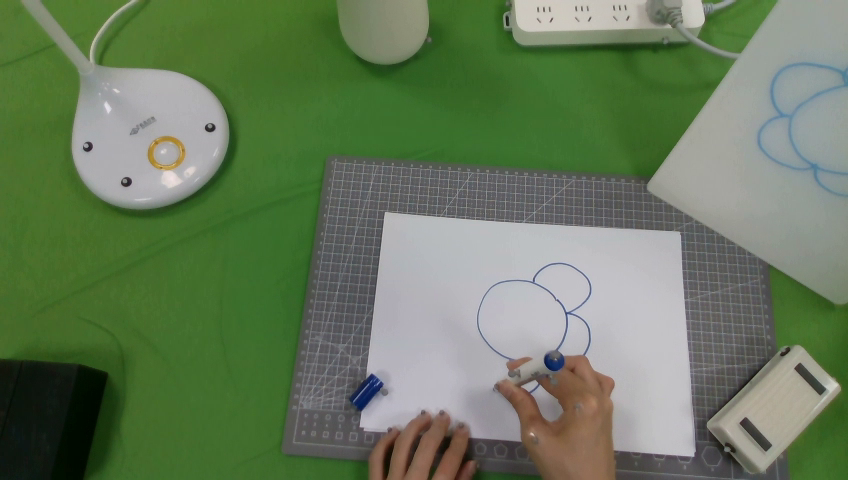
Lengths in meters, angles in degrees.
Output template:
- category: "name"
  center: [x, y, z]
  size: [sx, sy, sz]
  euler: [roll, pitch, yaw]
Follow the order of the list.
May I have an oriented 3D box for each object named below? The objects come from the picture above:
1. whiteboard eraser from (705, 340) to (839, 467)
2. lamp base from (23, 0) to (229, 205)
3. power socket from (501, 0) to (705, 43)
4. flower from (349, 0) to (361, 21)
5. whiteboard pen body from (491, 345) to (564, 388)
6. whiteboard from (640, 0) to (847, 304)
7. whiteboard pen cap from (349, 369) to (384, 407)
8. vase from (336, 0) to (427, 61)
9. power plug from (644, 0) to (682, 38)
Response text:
- category: "whiteboard eraser"
  center: [0.305, 0.143, 0.535]
  size: [0.112, 0.042, 0.055]
  euler: [-38, 74, -12]
- category: "lamp base"
  center: [-0.297, -0.143, 0.565]
  size: [0.178, 0.181, 0.160]
  euler: [36, 74, 15]
- category: "power socket"
  center: [0.202, -0.260, 0.681]
  size: [0.227, 0.033, 0.072]
  euler: [-1, 72, -1]
- category: "flower"
  center: [-0.029, -0.286, 0.517]
  size: [0.044, 0.361, 0.038]
  euler: [-39, 92, -21]
- category: "whiteboard pen body"
  center: [0.079, 0.108, 0.497]
  size: [0.017, 0.141, 0.017]
  euler: [5, 67, -12]
- category: "whiteboard"
  center: [0.378, -0.125, 0.523]
  size: [0.216, 0.307, 0.143]
  euler: [34, 54, 12]
- category: "whiteboard pen cap"
  center: [-0.052, 0.134, 0.553]
  size: [0.018, 0.018, 0.033]
  euler: [39, 74, 13]
- category: "vase"
  center: [-0.047, -0.268, 0.597]
  size: [0.098, 0.201, 0.097]
  euler: [0, 70, 2]
- category: "power plug"
  center: [0.253, -0.240, 0.650]
  size: [0.035, 0.053, 0.072]
  euler: [9, 77, 3]
